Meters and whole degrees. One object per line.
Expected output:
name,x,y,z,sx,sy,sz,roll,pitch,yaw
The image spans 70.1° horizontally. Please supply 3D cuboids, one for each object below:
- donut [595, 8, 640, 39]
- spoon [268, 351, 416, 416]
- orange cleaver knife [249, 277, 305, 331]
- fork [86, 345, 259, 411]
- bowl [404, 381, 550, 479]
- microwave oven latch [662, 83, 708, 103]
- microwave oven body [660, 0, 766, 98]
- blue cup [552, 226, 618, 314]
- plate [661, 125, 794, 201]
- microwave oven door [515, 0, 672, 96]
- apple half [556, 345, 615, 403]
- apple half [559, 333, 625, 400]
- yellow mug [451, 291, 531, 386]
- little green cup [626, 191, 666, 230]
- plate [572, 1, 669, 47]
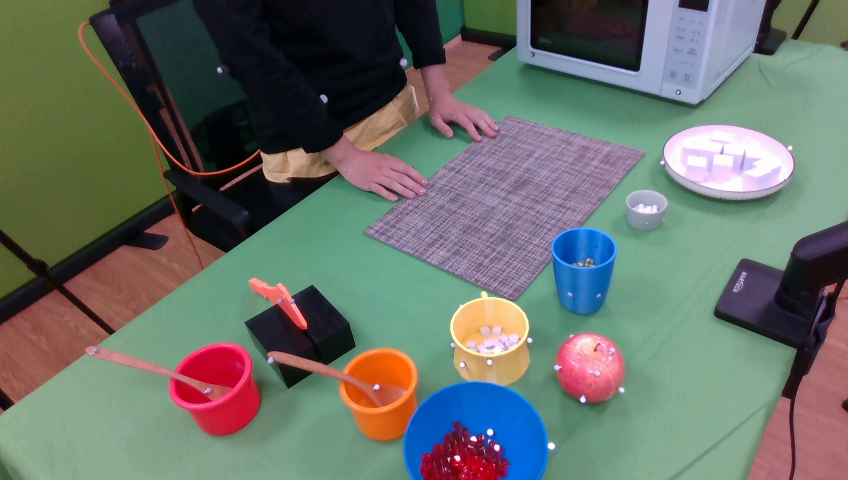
donut,0.436,-0.488,1.359,0.099,0.048,0.098,-11,34,9
spoon,-0.090,0.162,0.699,0.021,0.195,0.041,-44,31,27
orange cleaver knife,-0.210,0.088,0.855,0.012,0.077,0.210,-28,15,-25
fork,-0.298,0.166,0.728,0.209,0.018,0.028,28,48,-23
bowl,0.058,0.235,0.645,0.151,0.077,0.150,-4,39,4
microwave oven latch,0.518,-0.296,1.204,0.078,0.029,0.030,27,52,35
microwave oven body,0.472,-0.513,1.317,0.438,0.261,0.327,26,51,34
blue cup,0.218,0.047,0.826,0.092,0.101,0.092,-6,40,5
plate,0.513,-0.128,1.035,0.207,0.039,0.206,-4,40,4
microwave oven door,0.343,-0.455,1.259,0.353,0.245,0.039,26,51,33
apple half,0.181,0.167,0.709,0.080,0.081,0.033,29,50,35
apple half,0.209,0.147,0.730,0.080,0.075,0.053,26,48,38
yellow mug,0.085,0.120,0.786,0.100,0.064,0.130,-6,39,1
little green cup,0.352,-0.046,0.963,0.061,0.039,0.061,-4,40,4
plate,0.441,-0.484,1.366,0.209,0.038,0.208,-5,41,5
